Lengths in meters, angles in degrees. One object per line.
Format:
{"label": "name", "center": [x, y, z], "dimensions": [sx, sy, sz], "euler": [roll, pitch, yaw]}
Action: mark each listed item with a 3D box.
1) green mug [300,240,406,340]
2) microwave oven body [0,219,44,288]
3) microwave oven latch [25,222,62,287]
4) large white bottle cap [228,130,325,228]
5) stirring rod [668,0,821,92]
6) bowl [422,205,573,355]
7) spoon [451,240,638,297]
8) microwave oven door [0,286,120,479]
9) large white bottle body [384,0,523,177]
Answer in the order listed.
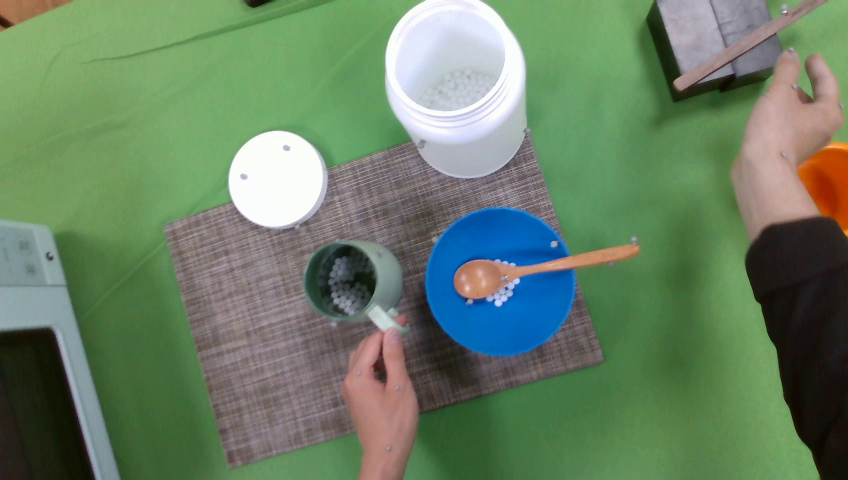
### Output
{"label": "green mug", "center": [-0.066, 0.056, 0.645], "dimensions": [0.092, 0.105, 0.125], "euler": [-44, 82, 3]}
{"label": "microwave oven body", "center": [-0.559, 0.228, 0.626], "dimensions": [0.326, 0.261, 0.440], "euler": [-19, 85, 6]}
{"label": "microwave oven latch", "center": [-0.461, 0.019, 0.722], "dimensions": [0.030, 0.029, 0.079], "euler": [-19, 85, 6]}
{"label": "large white bottle cap", "center": [-0.174, -0.071, 0.711], "dimensions": [0.114, 0.018, 0.114], "euler": [-1, 86, 8]}
{"label": "stirring rod", "center": [0.325, -0.202, 0.608], "dimensions": [0.176, 0.006, 0.014], "euler": [-32, 87, 6]}
{"label": "bowl", "center": [0.078, 0.042, 0.638], "dimensions": [0.151, 0.077, 0.151], "euler": [-1, 87, 9]}
{"label": "spoon", "center": [0.115, 0.027, 0.605], "dimensions": [0.193, 0.022, 0.041], "euler": [-13, 88, 31]}
{"label": "microwave oven door", "center": [-0.409, 0.219, 0.601], "dimensions": [0.039, 0.244, 0.355], "euler": [-20, 84, 7]}
{"label": "large white bottle body", "center": [0.033, -0.146, 0.601], "dimensions": [0.130, 0.185, 0.130], "euler": [-1, 82, 9]}
